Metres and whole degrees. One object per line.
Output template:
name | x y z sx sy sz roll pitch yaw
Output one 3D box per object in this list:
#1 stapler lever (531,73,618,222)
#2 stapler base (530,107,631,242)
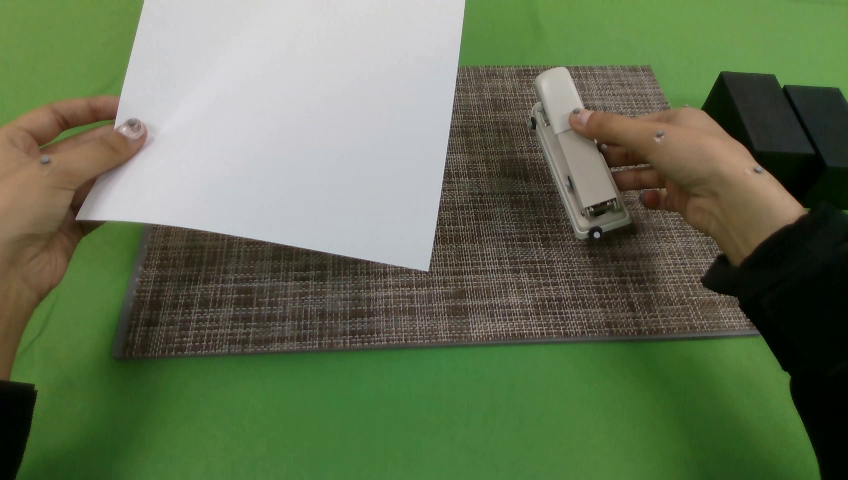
stapler lever | 0.108 -0.072 0.442 0.027 0.040 0.117 -22 61 12
stapler base | 0.115 -0.062 0.464 0.041 0.025 0.129 -22 61 12
